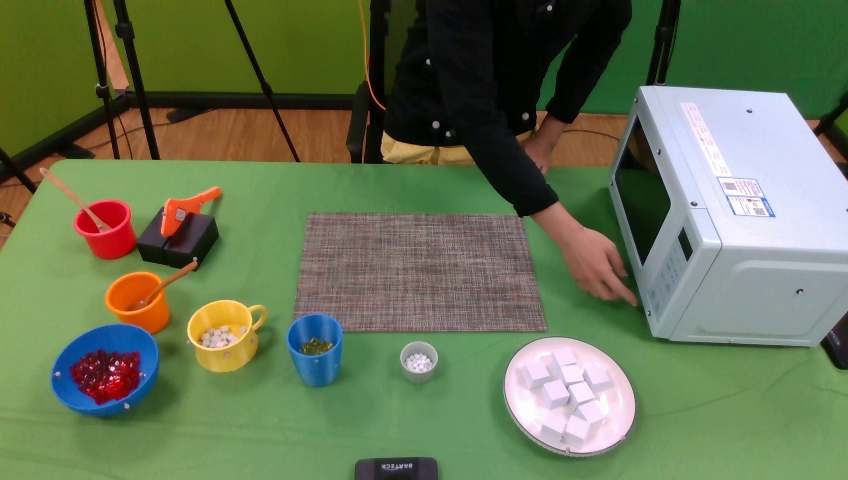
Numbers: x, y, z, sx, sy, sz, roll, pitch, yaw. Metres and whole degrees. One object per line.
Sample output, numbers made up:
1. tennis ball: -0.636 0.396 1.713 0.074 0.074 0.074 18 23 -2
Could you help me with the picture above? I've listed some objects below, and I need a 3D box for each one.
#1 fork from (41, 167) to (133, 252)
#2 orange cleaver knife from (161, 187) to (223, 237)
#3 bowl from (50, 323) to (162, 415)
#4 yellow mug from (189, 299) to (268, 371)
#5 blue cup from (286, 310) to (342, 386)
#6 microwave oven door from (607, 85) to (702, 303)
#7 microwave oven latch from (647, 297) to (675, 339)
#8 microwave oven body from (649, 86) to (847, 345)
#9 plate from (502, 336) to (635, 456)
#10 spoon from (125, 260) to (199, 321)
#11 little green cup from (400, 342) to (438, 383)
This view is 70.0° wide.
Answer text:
1. fork: -0.624 -0.055 1.121 0.208 0.018 0.028 50 52 -15
2. orange cleaver knife: -0.448 -0.058 1.181 0.012 0.077 0.211 13 17 6
3. bowl: -0.472 0.209 0.924 0.151 0.077 0.150 2 45 -2
4. yellow mug: -0.316 0.148 1.002 0.131 0.064 0.099 -32 56 -31
5. blue cup: -0.169 0.179 0.958 0.093 0.101 0.092 1 44 -1
6. microwave oven door: 0.423 -0.094 1.141 0.039 0.245 0.353 2 46 -1
7. microwave oven latch: 0.413 0.134 1.061 0.030 0.029 0.078 5 45 2
8. microwave oven body: 0.568 -0.053 1.118 0.326 0.261 0.439 2 45 -1
9. plate: 0.225 0.248 0.963 0.208 0.039 0.206 2 46 -2
10. spoon: -0.434 0.083 1.000 0.022 0.194 0.041 35 33 -34
11. little green cup: -0.009 0.202 0.991 0.061 0.039 0.061 2 46 -2
